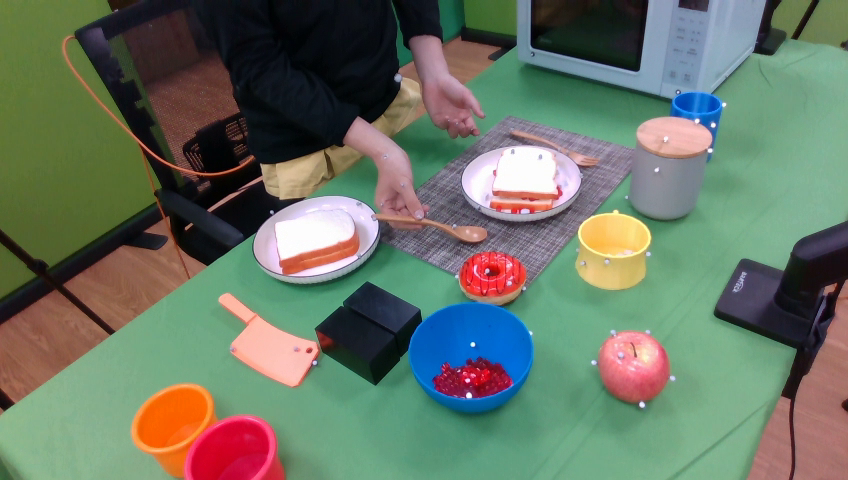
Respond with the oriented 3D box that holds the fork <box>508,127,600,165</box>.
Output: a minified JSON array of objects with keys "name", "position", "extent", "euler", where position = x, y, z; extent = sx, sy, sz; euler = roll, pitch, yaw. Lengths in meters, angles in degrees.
[{"name":"fork","position":[0.240,-0.180,1.142],"extent":[0.205,0.019,0.028],"euler":[32,63,34]}]

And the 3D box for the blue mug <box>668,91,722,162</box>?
[{"name":"blue mug","position":[0.475,-0.207,1.078],"extent":[0.082,0.106,0.116],"euler":[4,42,13]}]

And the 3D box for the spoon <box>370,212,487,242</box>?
[{"name":"spoon","position":[0.009,-0.025,0.938],"extent":[0.195,0.021,0.041],"euler":[13,37,-23]}]

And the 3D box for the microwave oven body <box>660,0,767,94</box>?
[{"name":"microwave oven body","position":[0.473,-0.516,1.313],"extent":[0.438,0.261,0.327],"euler":[26,51,34]}]

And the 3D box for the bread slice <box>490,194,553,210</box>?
[{"name":"bread slice","position":[0.173,-0.099,1.047],"extent":[0.104,0.019,0.131],"euler":[2,43,12]}]

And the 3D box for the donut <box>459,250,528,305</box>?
[{"name":"donut","position":[0.100,0.053,0.873],"extent":[0.099,0.048,0.098],"euler":[-4,40,4]}]

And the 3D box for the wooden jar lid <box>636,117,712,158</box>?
[{"name":"wooden jar lid","position":[0.377,-0.151,0.917],"extent":[0.108,0.021,0.108],"euler":[-2,42,3]}]

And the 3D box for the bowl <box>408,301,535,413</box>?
[{"name":"bowl","position":[0.060,0.156,0.739],"extent":[0.151,0.077,0.150],"euler":[-4,40,4]}]

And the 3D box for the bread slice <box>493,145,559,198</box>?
[{"name":"bread slice","position":[0.172,-0.118,1.027],"extent":[0.107,0.018,0.134],"euler":[3,43,7]}]

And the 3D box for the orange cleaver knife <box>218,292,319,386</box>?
[{"name":"orange cleaver knife","position":[-0.235,0.136,0.850],"extent":[0.209,0.012,0.077],"euler":[25,56,30]}]

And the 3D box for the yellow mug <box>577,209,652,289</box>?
[{"name":"yellow mug","position":[0.279,0.004,0.893],"extent":[0.099,0.064,0.130],"euler":[5,41,15]}]

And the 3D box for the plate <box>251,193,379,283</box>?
[{"name":"plate","position":[-0.174,-0.001,0.985],"extent":[0.209,0.038,0.208],"euler":[-4,41,4]}]

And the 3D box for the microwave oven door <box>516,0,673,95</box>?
[{"name":"microwave oven door","position":[0.344,-0.458,1.256],"extent":[0.353,0.245,0.039],"euler":[26,51,33]}]

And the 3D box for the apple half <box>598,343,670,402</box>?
[{"name":"apple half","position":[0.247,0.161,0.710],"extent":[0.081,0.075,0.053],"euler":[2,47,5]}]

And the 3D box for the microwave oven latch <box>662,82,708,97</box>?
[{"name":"microwave oven latch","position":[0.518,-0.298,1.202],"extent":[0.078,0.029,0.030],"euler":[28,52,35]}]

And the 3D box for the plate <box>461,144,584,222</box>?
[{"name":"plate","position":[0.168,-0.095,1.040],"extent":[0.207,0.039,0.206],"euler":[-4,40,4]}]

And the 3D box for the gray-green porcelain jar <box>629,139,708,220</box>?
[{"name":"gray-green porcelain jar","position":[0.383,-0.104,0.958],"extent":[0.106,0.127,0.105],"euler":[-4,41,4]}]

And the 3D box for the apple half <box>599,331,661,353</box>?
[{"name":"apple half","position":[0.249,0.134,0.738],"extent":[0.081,0.081,0.032],"euler":[-1,46,7]}]
